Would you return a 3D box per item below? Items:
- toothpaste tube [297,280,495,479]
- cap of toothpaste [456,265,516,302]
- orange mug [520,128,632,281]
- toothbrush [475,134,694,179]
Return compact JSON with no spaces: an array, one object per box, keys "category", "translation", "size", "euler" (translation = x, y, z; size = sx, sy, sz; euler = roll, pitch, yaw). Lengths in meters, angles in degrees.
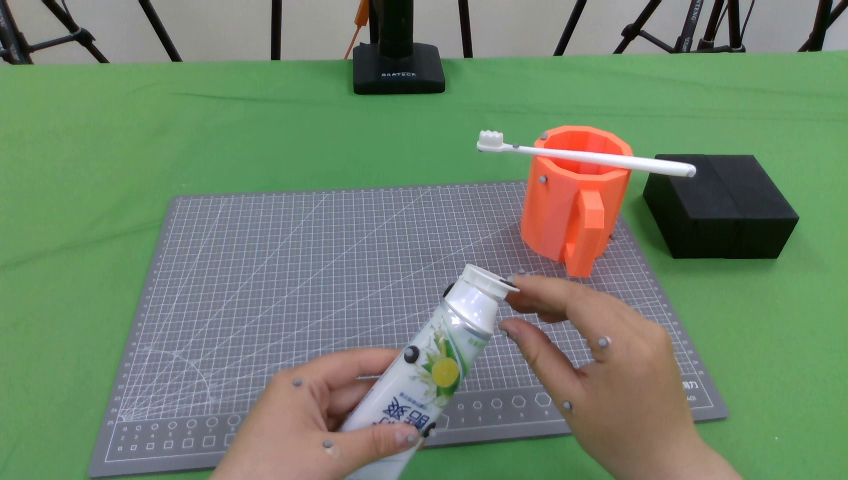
[{"category":"toothpaste tube","translation":[-0.011,0.092,0.351],"size":[0.055,0.165,0.034],"euler":[32,4,-9]},{"category":"cap of toothpaste","translation":[0.035,0.026,0.345],"size":[0.037,0.011,0.037],"euler":[26,2,-1]},{"category":"orange mug","translation":[0.136,-0.028,0.543],"size":[0.083,0.101,0.125],"euler":[2,38,0]},{"category":"toothbrush","translation":[0.133,-0.070,0.511],"size":[0.181,0.017,0.014],"euler":[9,34,8]}]
